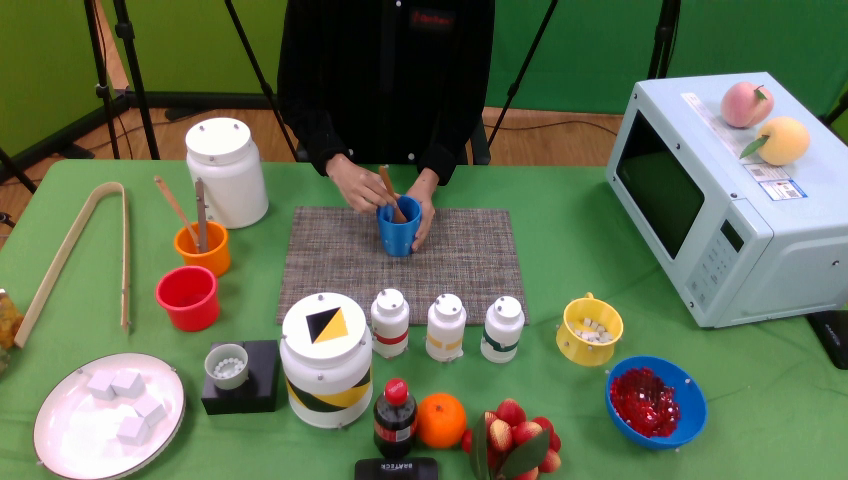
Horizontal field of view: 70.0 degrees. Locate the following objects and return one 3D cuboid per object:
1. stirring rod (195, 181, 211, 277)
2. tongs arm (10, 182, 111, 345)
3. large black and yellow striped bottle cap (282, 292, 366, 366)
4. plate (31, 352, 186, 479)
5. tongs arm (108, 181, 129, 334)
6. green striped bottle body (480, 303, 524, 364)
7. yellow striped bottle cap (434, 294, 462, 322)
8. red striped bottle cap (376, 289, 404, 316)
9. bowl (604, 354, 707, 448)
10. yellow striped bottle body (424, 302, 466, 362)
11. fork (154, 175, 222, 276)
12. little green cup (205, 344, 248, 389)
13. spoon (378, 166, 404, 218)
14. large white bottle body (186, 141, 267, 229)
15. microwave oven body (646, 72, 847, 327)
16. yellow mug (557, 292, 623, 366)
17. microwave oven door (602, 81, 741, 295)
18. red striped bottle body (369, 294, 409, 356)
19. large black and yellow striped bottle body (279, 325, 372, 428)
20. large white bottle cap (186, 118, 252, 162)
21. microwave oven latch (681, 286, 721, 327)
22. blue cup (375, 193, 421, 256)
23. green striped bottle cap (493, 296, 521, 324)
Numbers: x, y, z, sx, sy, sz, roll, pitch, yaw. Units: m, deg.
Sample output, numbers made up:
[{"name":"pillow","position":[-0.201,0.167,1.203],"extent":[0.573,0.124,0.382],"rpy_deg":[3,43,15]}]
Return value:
[{"name":"stirring rod","position":[-0.403,-0.020,1.104],"extent":[0.014,0.006,0.176],"rpy_deg":[-6,89,-8]},{"name":"tongs arm","position":[-0.658,0.027,1.109],"extent":[0.028,0.028,0.385],"rpy_deg":[-2,45,2]},{"name":"large black and yellow striped bottle cap","position":[-0.138,0.121,0.841],"extent":[0.115,0.019,0.114],"rpy_deg":[3,47,-3]},{"name":"plate","position":[-0.459,0.262,0.898],"extent":[0.209,0.038,0.208],"rpy_deg":[2,46,-2]},{"name":"tongs arm","position":[-0.571,0.019,1.123],"extent":[0.051,0.026,0.382],"rpy_deg":[-11,47,-12]},{"name":"green striped bottle body","position":[0.129,0.147,1.000],"extent":[0.063,0.120,0.063],"rpy_deg":[2,46,-2]},{"name":"yellow striped bottle cap","position":[0.038,0.107,0.958],"extent":[0.044,0.019,0.044],"rpy_deg":[2,45,-2]},{"name":"red striped bottle cap","position":[-0.054,0.098,0.958],"extent":[0.044,0.018,0.044],"rpy_deg":[0,48,1]},{"name":"bowl","position":[0.346,0.261,0.937],"extent":[0.151,0.077,0.150],"rpy_deg":[2,46,-2]},{"name":"yellow striped bottle body","position":[0.035,0.143,0.995],"extent":[0.063,0.121,0.062],"rpy_deg":[3,46,-3]},{"name":"fork","position":[-0.431,-0.026,1.101],"extent":[0.028,0.018,0.207],"rpy_deg":[-33,100,-25]},{"name":"little green cup","position":[-0.294,0.191,0.909],"extent":[0.061,0.039,0.061],"rpy_deg":[1,47,-1]},{"name":"spoon","position":[-0.058,-0.070,1.113],"extent":[0.041,0.195,0.021],"rpy_deg":[0,51,13]},{"name":"large white bottle body","position":[-0.383,-0.127,1.175],"extent":[0.131,0.185,0.130],"rpy_deg":[2,47,-2]},{"name":"microwave oven body","position":[0.607,-0.089,1.164],"extent":[0.326,0.261,0.438],"rpy_deg":[-7,46,-10]},{"name":"yellow mug","position":[0.285,0.145,1.051],"extent":[0.100,0.064,0.130],"rpy_deg":[7,46,4]},{"name":"microwave oven door","position":[0.456,-0.107,1.162],"extent":[0.039,0.245,0.353],"rpy_deg":[-7,47,-11]},{"name":"red striped bottle body","position":[-0.059,0.134,0.997],"extent":[0.063,0.120,0.062],"rpy_deg":[5,48,-5]},{"name":"large black and yellow striped bottle body","position":[-0.143,0.181,0.900],"extent":[0.131,0.185,0.130],"rpy_deg":[2,46,-2]},{"name":"large white bottle cap","position":[-0.377,-0.185,1.115],"extent":[0.115,0.018,0.114],"rpy_deg":[2,46,-2]},{"name":"microwave oven latch","position":[0.494,0.119,1.086],"extent":[0.030,0.029,0.078],"rpy_deg":[-5,46,-9]},{"name":"blue cup","position":[-0.050,-0.023,1.156],"extent":[0.093,0.101,0.092],"rpy_deg":[1,47,-1]},{"name":"green striped bottle cap","position":[0.133,0.111,0.963],"extent":[0.044,0.020,0.044],"rpy_deg":[2,48,-2]}]
